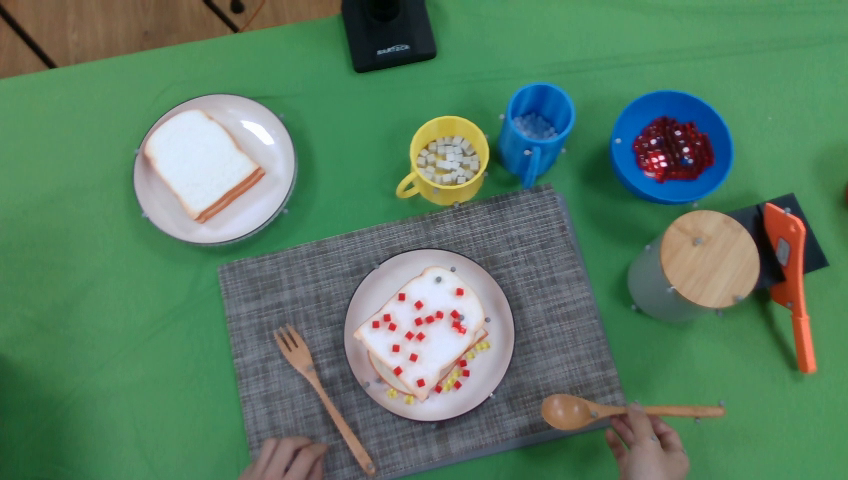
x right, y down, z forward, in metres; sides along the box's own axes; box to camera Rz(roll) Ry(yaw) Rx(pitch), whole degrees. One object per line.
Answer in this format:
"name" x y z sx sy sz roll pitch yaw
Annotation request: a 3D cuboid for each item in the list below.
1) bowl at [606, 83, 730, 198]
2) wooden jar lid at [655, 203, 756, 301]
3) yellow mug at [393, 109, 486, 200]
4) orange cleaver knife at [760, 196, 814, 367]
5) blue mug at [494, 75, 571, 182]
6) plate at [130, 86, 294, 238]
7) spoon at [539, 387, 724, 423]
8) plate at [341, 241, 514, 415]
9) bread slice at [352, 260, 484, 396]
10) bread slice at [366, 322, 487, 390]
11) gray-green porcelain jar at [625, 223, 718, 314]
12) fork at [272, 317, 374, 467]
"bowl" 0.301 -0.116 0.780 0.151 0.077 0.150 0 76 0
"wooden jar lid" 0.303 0.014 0.657 0.108 0.021 0.108 1 77 -3
"yellow mug" 0.015 -0.101 0.780 0.131 0.064 0.099 -34 77 -7
"orange cleaver knife" 0.439 0.050 0.736 0.012 0.077 0.212 -15 102 -4
"blue mug" 0.134 -0.131 0.769 0.082 0.106 0.116 7 75 2
"plate" -0.272 -0.100 0.792 0.208 0.039 0.206 0 75 0
"spoon" 0.226 0.181 0.667 0.193 0.022 0.041 -5 53 16
"plate" 0.004 0.105 0.737 0.209 0.038 0.208 0 76 0
"bread slice" 0.000 0.088 0.681 0.107 0.018 0.134 40 73 4
"bread slice" -0.003 0.117 0.737 0.104 0.019 0.131 42 77 11
"gray-green porcelain jar" 0.303 0.031 0.717 0.106 0.127 0.105 0 75 -1
"fork" -0.120 0.181 0.725 0.028 0.019 0.206 -32 76 -19
